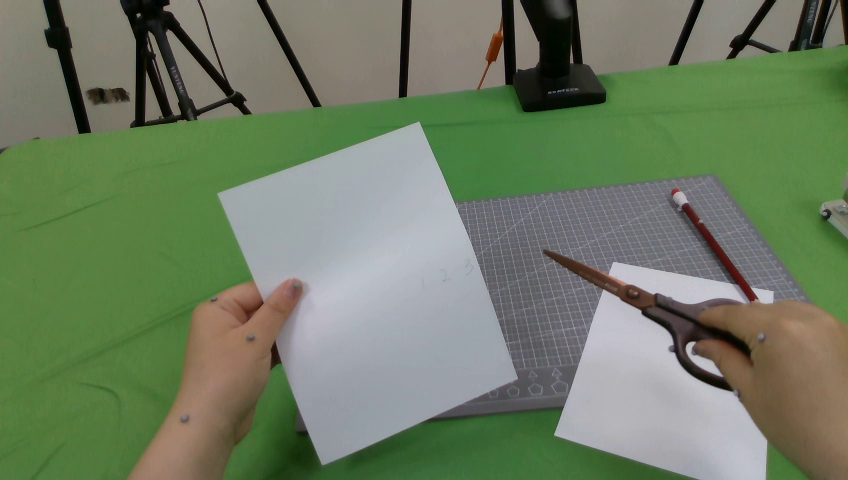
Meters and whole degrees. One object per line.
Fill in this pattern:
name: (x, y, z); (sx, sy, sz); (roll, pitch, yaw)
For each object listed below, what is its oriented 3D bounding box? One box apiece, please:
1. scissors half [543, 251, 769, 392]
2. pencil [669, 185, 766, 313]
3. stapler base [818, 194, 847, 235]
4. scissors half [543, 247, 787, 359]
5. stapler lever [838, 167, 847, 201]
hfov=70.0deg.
scissors half: (0.152, 0.049, 0.424); (0.040, 0.013, 0.173); (-35, 51, -22)
pencil: (0.285, 0.003, 0.597); (0.012, 0.012, 0.192); (-9, 40, -1)
stapler base: (0.436, -0.010, 0.582); (0.041, 0.025, 0.129); (-11, 40, -1)
scissors half: (0.165, 0.037, 0.434); (0.174, 0.013, 0.040); (22, 48, 25)
stapler lever: (0.434, -0.029, 0.564); (0.027, 0.040, 0.117); (-11, 40, 0)
